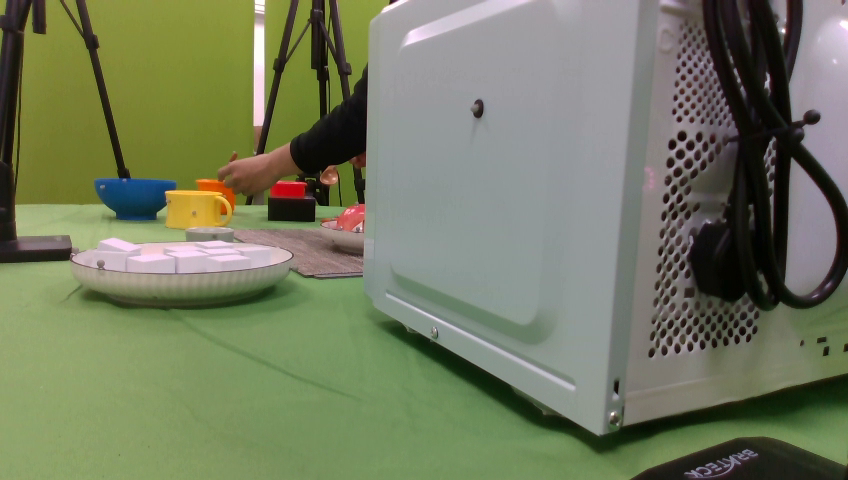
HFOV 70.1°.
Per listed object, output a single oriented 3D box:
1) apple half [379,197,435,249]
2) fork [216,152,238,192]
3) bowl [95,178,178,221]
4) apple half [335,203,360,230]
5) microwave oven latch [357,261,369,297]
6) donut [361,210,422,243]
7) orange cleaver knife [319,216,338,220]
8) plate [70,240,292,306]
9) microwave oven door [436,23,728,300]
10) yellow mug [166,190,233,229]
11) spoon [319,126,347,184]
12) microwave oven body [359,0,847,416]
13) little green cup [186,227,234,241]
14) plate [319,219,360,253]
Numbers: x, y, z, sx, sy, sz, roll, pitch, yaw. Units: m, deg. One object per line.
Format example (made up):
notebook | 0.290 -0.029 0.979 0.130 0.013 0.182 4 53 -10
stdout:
apple half | -0.020 -0.030 0.891 0.081 0.053 0.074 -2 49 -26
fork | -0.455 -0.132 1.366 0.028 0.018 0.207 -2 -35 -37
bowl | -0.576 -0.081 1.217 0.151 0.077 0.151 4 8 0
apple half | -0.116 -0.038 0.959 0.081 0.033 0.081 -38 8 7
microwave oven latch | -0.019 0.033 0.531 0.079 0.029 0.030 -1 7 -28
donut | -0.051 -0.020 0.959 0.099 0.048 0.099 7 7 -1
orange cleaver knife | -0.141 -0.057 1.394 0.077 0.012 0.212 0 6 45
plate | -0.242 0.032 0.618 0.208 0.039 0.207 3 8 0
microwave oven door | 0.180 -0.073 0.621 0.358 0.243 0.039 -2 9 -29
yellow mug | -0.415 -0.057 1.132 0.130 0.064 0.100 6 8 16
spoon | -0.213 -0.209 1.471 0.041 0.193 0.021 11 -31 2
microwave oven body | 0.211 -0.047 0.474 0.444 0.260 0.324 -1 7 -28
little green cup | -0.285 0.005 0.805 0.061 0.038 0.061 2 8 0
plate | -0.059 -0.007 0.939 0.209 0.038 0.209 3 8 0
